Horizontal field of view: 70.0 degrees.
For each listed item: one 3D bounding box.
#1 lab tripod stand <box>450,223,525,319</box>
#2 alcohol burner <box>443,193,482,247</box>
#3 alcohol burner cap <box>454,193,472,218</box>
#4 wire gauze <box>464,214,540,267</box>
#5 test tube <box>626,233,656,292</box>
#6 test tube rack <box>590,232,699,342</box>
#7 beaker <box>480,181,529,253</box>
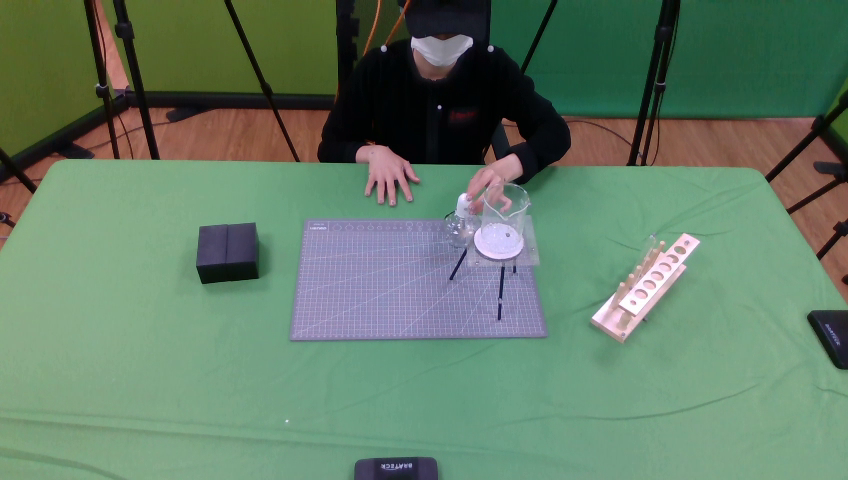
[{"bbox_3d":[0.120,0.046,1.080,0.148,0.132,0.147,1,47,-1],"label":"lab tripod stand"},{"bbox_3d":[0.075,-0.043,1.177,0.078,0.120,0.077,1,44,-1],"label":"alcohol burner"},{"bbox_3d":[0.076,-0.068,1.151,0.034,0.048,0.033,2,47,-2],"label":"alcohol burner cap"},{"bbox_3d":[0.131,-0.001,1.035,0.121,0.011,0.124,1,44,-2],"label":"wire gauze"},{"bbox_3d":[0.384,0.042,1.079,0.017,0.151,0.017,1,47,-1],"label":"test tube"},{"bbox_3d":[0.407,0.074,1.112,0.066,0.085,0.242,35,53,26],"label":"test tube rack"},{"bbox_3d":[0.130,-0.033,0.998,0.074,0.101,0.083,5,46,4],"label":"beaker"}]
